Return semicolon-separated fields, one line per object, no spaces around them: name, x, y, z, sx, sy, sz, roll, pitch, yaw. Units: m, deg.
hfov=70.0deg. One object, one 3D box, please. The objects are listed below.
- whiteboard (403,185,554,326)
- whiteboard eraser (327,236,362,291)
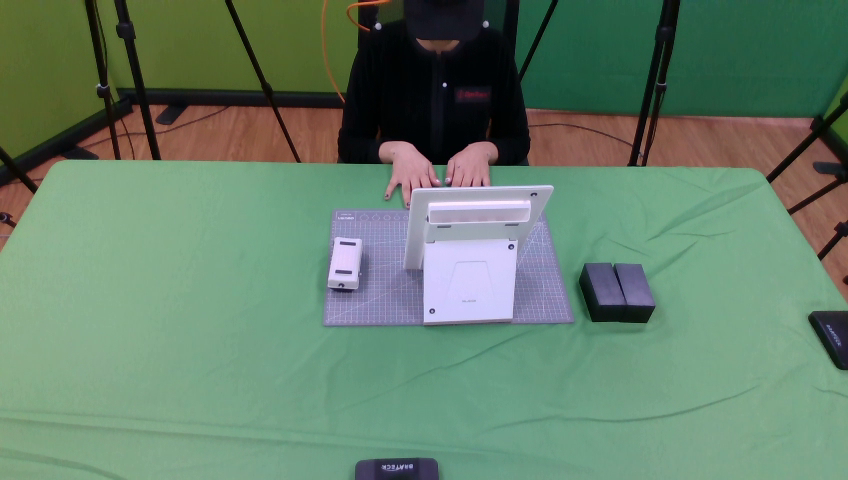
whiteboard;0.081;0.044;1.005;0.217;0.306;0.143;-1;65;-5
whiteboard eraser;-0.147;0.044;1.127;0.055;0.042;0.112;2;46;-2
